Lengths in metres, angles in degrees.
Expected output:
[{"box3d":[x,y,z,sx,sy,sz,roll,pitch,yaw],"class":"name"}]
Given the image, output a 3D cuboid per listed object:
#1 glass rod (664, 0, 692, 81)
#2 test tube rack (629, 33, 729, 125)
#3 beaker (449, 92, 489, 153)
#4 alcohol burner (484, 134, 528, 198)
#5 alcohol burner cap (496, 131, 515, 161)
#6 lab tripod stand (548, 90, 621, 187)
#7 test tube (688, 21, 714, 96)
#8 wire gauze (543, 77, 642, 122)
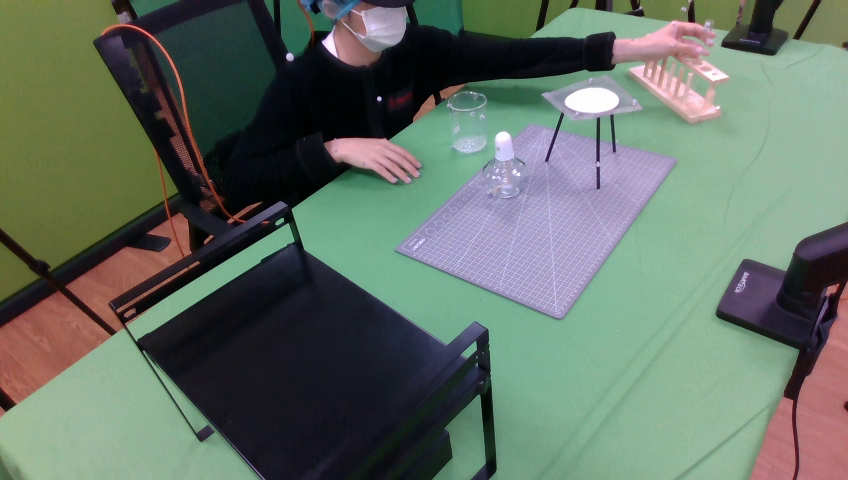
[{"box3d":[0.524,-0.419,1.239,0.008,0.200,0.008,1,41,-1],"class":"glass rod"},{"box3d":[0.516,-0.337,1.248,0.067,0.085,0.240,-15,41,-6],"class":"test tube rack"},{"box3d":[0.091,-0.228,1.177,0.073,0.101,0.084,15,45,24],"class":"beaker"},{"box3d":[0.141,-0.133,1.041,0.078,0.119,0.077,-5,42,5],"class":"alcohol burner"},{"box3d":[0.135,-0.160,1.019,0.034,0.048,0.033,-7,38,6],"class":"alcohol burner cap"},{"box3d":[0.289,-0.184,1.062,0.148,0.132,0.147,-6,41,6],"class":"lab tripod stand"},{"box3d":[0.541,-0.352,1.183,0.017,0.151,0.017,-2,40,2],"class":"test tube"},{"box3d":[0.282,-0.236,1.020,0.125,0.011,0.120,-15,40,-6],"class":"wire gauze"}]
